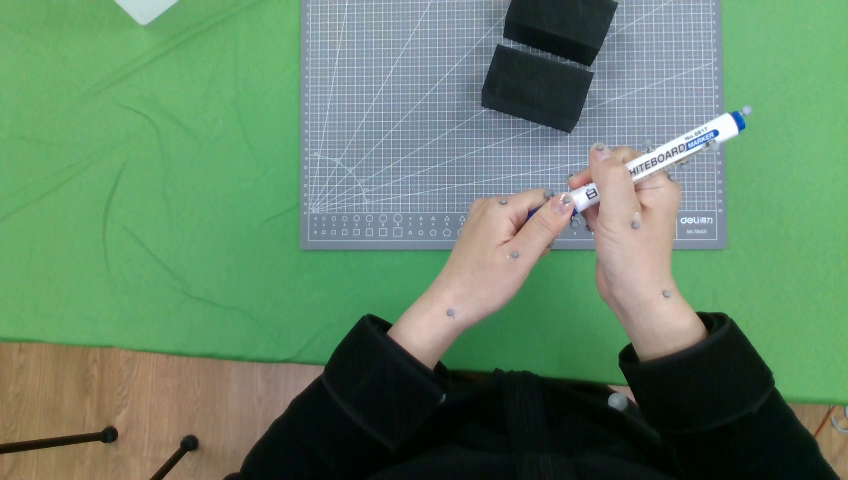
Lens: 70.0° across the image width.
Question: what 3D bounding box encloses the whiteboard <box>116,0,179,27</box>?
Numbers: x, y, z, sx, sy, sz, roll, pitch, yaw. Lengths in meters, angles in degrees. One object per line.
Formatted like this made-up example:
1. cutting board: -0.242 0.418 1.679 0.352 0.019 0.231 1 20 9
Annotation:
1. whiteboard: -0.307 -0.406 0.570 0.217 0.308 0.142 -36 65 2

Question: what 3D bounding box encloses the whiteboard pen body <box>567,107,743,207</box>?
1. whiteboard pen body: 0.138 -0.047 0.397 0.140 0.017 0.017 -27 85 15

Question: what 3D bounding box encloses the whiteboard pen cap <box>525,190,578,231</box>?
1. whiteboard pen cap: 0.087 -0.020 0.412 0.033 0.018 0.018 -29 85 13
